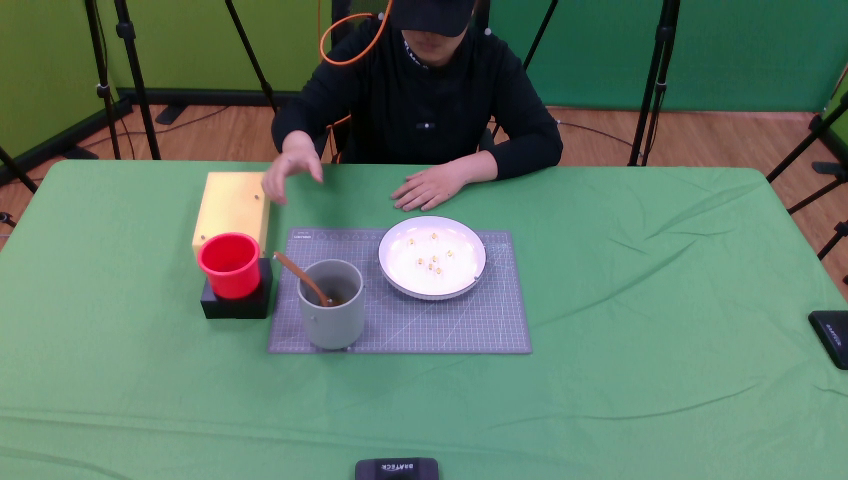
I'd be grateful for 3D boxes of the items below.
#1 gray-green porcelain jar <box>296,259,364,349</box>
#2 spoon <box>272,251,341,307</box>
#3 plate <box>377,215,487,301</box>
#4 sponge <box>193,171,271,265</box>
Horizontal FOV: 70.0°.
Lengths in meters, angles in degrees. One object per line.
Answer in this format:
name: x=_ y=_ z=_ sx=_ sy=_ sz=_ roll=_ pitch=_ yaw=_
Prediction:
gray-green porcelain jar: x=-0.152 y=0.111 z=1.003 sx=0.106 sy=0.127 sz=0.105 roll=2 pitch=46 yaw=-2
spoon: x=-0.180 y=0.078 z=0.982 sx=0.021 sy=0.195 sz=0.041 roll=-9 pitch=46 yaw=28
plate: x=0.015 y=0.037 z=1.147 sx=0.208 sy=0.039 sz=0.206 roll=2 pitch=46 yaw=-2
sponge: x=-0.371 y=-0.047 z=1.189 sx=0.118 sy=0.061 sz=0.205 roll=-2 pitch=47 yaw=-6
